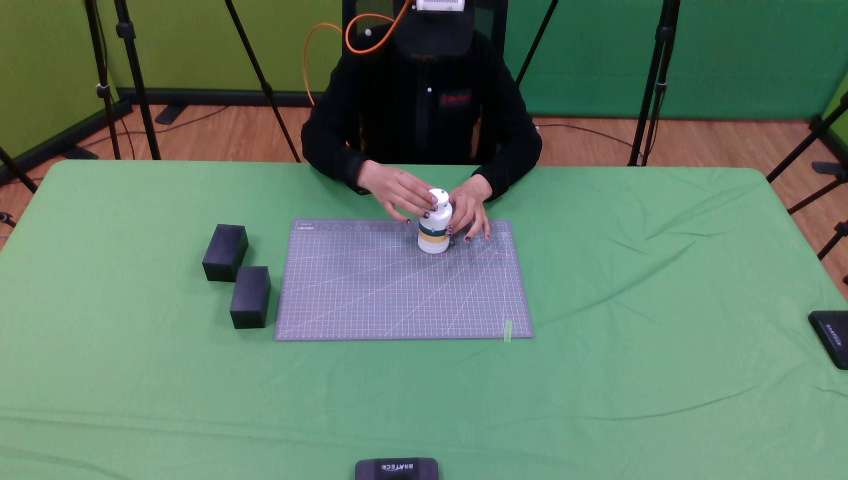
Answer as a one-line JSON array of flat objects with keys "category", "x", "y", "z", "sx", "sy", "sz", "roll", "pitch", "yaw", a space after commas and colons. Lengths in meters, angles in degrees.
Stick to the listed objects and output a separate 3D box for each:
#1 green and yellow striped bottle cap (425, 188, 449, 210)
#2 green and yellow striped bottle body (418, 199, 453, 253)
[{"category": "green and yellow striped bottle cap", "x": 0.025, "y": -0.076, "z": 1.118, "sx": 0.045, "sy": 0.020, "sz": 0.045, "roll": 1, "pitch": 43, "yaw": -1}, {"category": "green and yellow striped bottle body", "x": 0.022, "y": -0.036, "z": 1.160, "sx": 0.063, "sy": 0.120, "sz": 0.063, "roll": 2, "pitch": 46, "yaw": -2}]
